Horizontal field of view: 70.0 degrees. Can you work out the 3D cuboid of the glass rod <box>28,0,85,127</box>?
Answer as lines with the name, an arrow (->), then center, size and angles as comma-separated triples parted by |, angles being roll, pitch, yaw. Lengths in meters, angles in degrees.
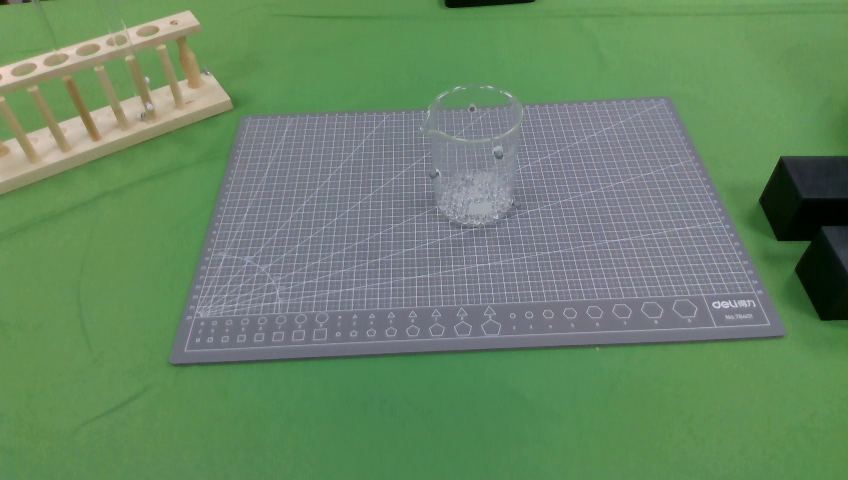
glass rod -> -0.351, -0.193, 0.560 | 0.008, 0.201, 0.008 | -1, 40, 1

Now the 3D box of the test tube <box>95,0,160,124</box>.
test tube -> -0.279, -0.175, 0.569 | 0.017, 0.151, 0.017 | -1, 45, 1

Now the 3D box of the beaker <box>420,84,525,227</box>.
beaker -> 0.039, -0.066, 0.505 | 0.084, 0.101, 0.073 | -16, 49, -10

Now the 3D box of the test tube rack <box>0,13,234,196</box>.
test tube rack -> -0.325, -0.137, 0.598 | 0.242, 0.086, 0.066 | -27, 52, -20
